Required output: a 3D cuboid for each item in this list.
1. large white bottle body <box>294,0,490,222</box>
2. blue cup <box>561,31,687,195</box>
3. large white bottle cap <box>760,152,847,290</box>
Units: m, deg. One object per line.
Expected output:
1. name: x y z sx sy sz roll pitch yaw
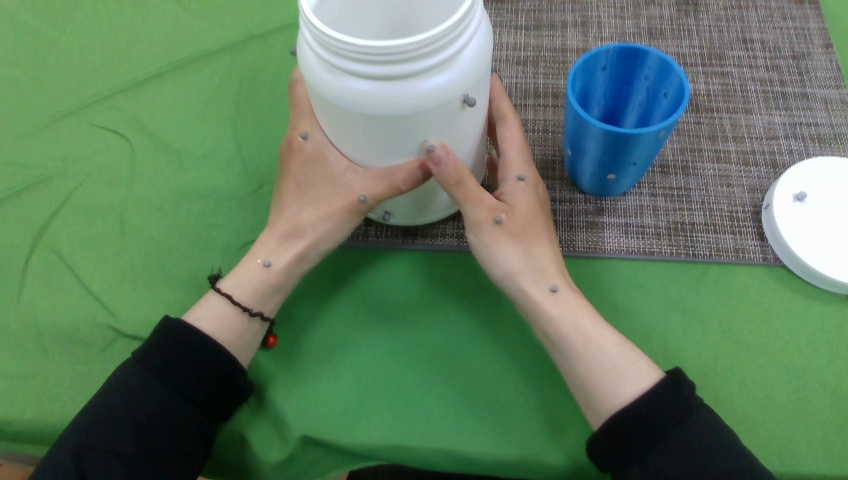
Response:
1. large white bottle body: -0.019 -0.111 0.441 0.130 0.186 0.129 -1 60 2
2. blue cup: 0.145 -0.087 0.468 0.092 0.101 0.092 -2 60 4
3. large white bottle cap: 0.323 -0.017 0.470 0.115 0.018 0.114 0 65 0
